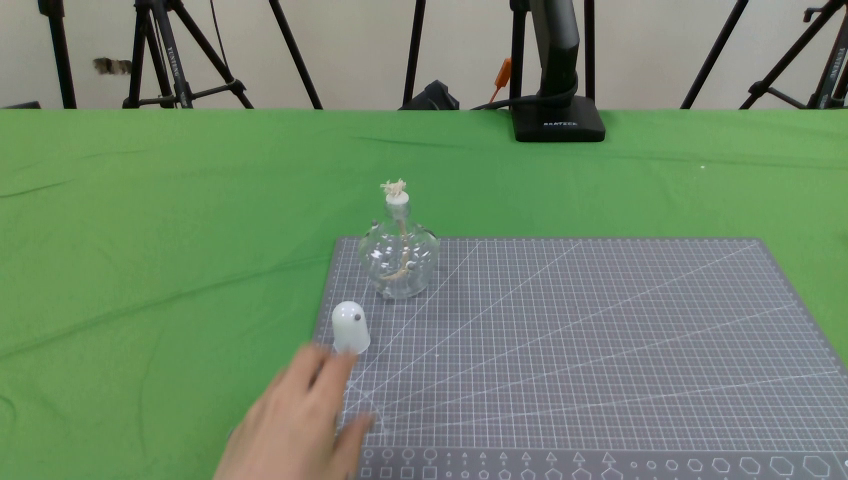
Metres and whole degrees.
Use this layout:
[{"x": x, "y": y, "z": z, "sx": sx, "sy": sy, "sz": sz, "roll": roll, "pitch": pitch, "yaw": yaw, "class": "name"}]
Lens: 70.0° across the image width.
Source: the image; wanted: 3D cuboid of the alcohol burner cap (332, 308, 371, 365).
[{"x": -0.063, "y": 0.079, "z": 0.517, "sx": 0.034, "sy": 0.048, "sz": 0.033, "roll": 0, "pitch": 37, "yaw": 1, "class": "alcohol burner cap"}]

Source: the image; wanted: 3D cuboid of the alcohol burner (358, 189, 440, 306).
[{"x": -0.024, "y": 0.003, "z": 0.559, "sx": 0.078, "sy": 0.120, "sz": 0.077, "roll": 0, "pitch": 39, "yaw": 0, "class": "alcohol burner"}]
